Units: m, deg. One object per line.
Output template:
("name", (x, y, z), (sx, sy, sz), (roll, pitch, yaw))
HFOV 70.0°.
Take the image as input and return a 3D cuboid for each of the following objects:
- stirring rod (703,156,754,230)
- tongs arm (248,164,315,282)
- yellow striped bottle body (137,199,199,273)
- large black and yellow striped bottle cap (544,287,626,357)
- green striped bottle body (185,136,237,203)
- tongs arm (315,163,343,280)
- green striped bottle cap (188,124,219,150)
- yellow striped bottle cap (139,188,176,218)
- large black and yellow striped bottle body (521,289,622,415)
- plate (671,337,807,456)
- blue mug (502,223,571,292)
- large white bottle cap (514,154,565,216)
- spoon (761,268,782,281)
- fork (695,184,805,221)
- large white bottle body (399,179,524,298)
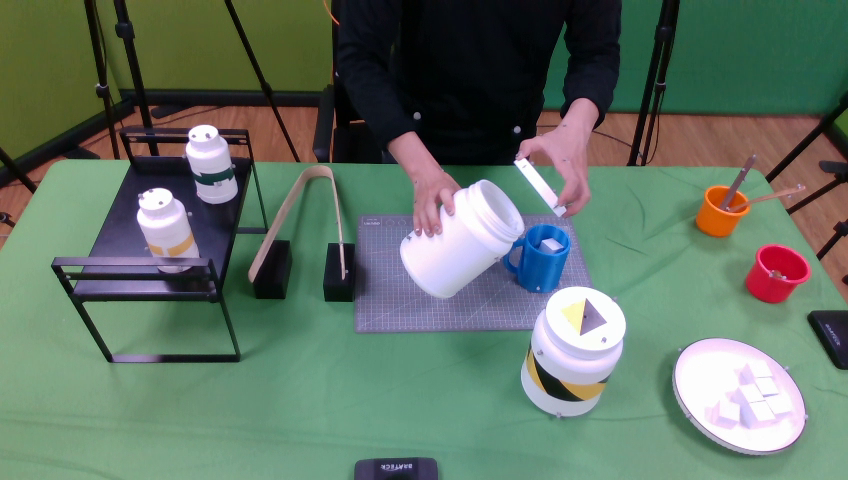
("stirring rod", (0.631, -0.097, 1.258), (0.014, 0.006, 0.176), (33, 95, 29))
("tongs arm", (-0.269, -0.048, 1.166), (0.028, 0.028, 0.385), (-1, 34, 7))
("yellow striped bottle body", (-0.366, -0.014, 0.863), (0.063, 0.121, 0.062), (2, 46, -2))
("large black and yellow striped bottle cap", (0.232, 0.116, 0.876), (0.115, 0.019, 0.114), (2, 46, -1))
("green striped bottle body", (-0.341, -0.122, 0.968), (0.063, 0.120, 0.063), (2, 46, -2))
("tongs arm", (-0.187, -0.049, 1.170), (0.051, 0.026, 0.382), (-5, 35, -6))
("green striped bottle cap", (-0.339, -0.158, 0.931), (0.044, 0.020, 0.044), (4, 46, -3))
("yellow striped bottle cap", (-0.363, -0.051, 0.826), (0.044, 0.019, 0.044), (1, 47, 0))
("large black and yellow striped bottle body", (0.228, 0.173, 0.938), (0.131, 0.185, 0.130), (2, 47, -2))
("plate", (0.504, 0.253, 0.984), (0.208, 0.039, 0.206), (2, 46, -2))
("blue mug", (0.203, 0.032, 1.121), (0.116, 0.106, 0.082), (5, 46, 1))
("large white bottle cap", (0.182, -0.087, 0.956), (0.018, 0.115, 0.114), (-38, 51, 11))
("spoon", (0.638, 0.060, 1.105), (0.041, 0.021, 0.194), (38, 11, 24))
("fork", (0.657, -0.075, 1.230), (0.207, 0.019, 0.028), (-23, 34, 37))
("large white bottle body", (0.062, -0.003, 1.005), (0.131, 0.185, 0.130), (35, 30, -24))
